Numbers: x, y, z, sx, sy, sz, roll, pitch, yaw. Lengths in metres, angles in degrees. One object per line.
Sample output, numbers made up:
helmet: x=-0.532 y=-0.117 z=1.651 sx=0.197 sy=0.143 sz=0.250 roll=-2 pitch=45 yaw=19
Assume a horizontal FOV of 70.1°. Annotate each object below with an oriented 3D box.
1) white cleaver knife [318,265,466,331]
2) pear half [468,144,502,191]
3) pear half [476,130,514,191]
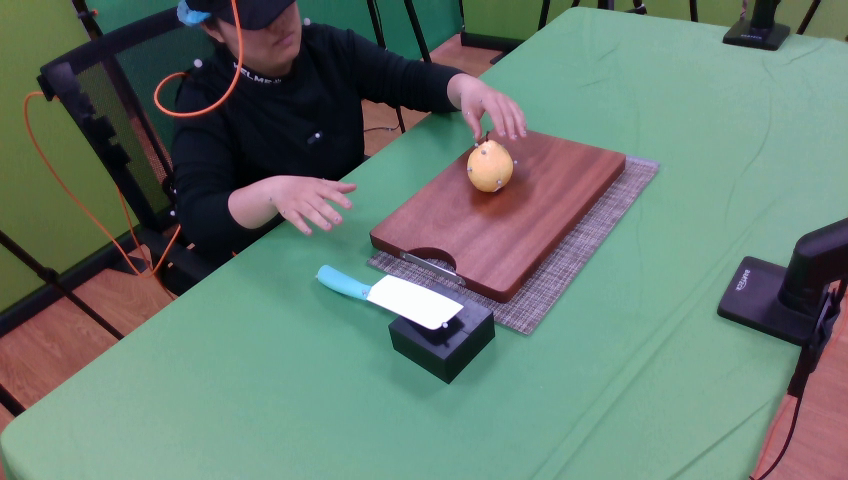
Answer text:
white cleaver knife: x=-0.056 y=0.075 z=0.871 sx=0.284 sy=0.021 sz=0.066 roll=17 pitch=42 yaw=43
pear half: x=0.097 y=-0.116 z=1.007 sx=0.070 sy=0.088 sz=0.031 roll=28 pitch=52 yaw=26
pear half: x=0.119 y=-0.142 z=1.020 sx=0.076 sy=0.110 sz=0.056 roll=26 pitch=52 yaw=30
